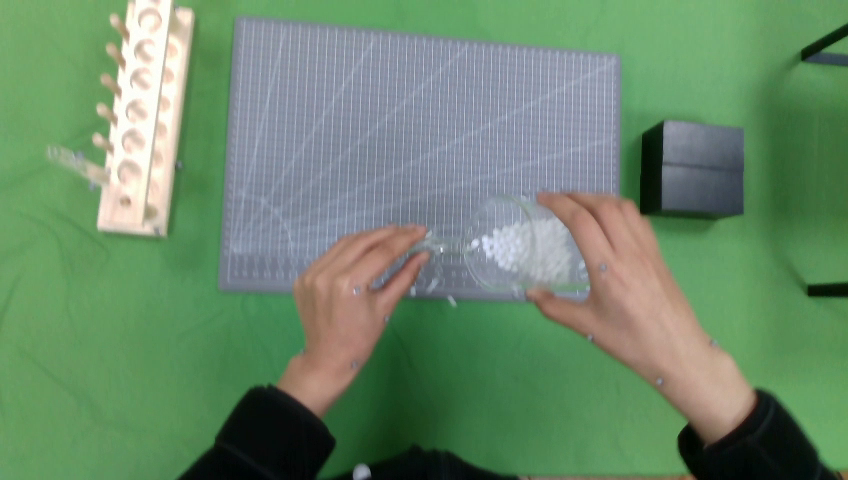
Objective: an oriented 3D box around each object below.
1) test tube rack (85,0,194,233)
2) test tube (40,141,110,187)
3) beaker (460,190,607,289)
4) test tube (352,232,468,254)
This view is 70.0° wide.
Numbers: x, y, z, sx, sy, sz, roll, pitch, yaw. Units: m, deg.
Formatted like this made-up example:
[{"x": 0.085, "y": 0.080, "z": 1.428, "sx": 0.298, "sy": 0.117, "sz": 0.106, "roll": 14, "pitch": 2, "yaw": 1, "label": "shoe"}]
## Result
[{"x": -0.290, "y": -0.134, "z": 0.608, "sx": 0.067, "sy": 0.085, "sz": 0.241, "roll": 6, "pitch": 84, "yaw": -8, "label": "test tube rack"}, {"x": -0.310, "y": -0.066, "z": 0.554, "sx": 0.017, "sy": 0.150, "sz": 0.017, "roll": 1, "pitch": 85, "yaw": -8, "label": "test tube"}, {"x": 0.089, "y": 0.004, "z": 0.486, "sx": 0.101, "sy": 0.083, "sz": 0.074, "roll": 5, "pitch": 81, "yaw": -38, "label": "beaker"}, {"x": -0.018, "y": 0.002, "z": 0.543, "sx": 0.017, "sy": 0.149, "sz": 0.017, "roll": -2, "pitch": 93, "yaw": -41, "label": "test tube"}]
